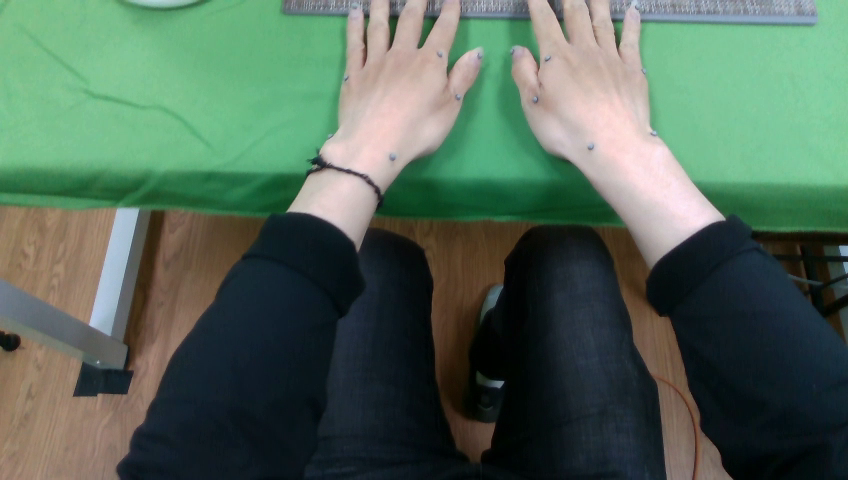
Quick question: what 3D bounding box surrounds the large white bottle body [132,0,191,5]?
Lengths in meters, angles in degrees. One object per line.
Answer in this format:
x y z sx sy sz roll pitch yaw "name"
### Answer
-0.225 -0.291 0.456 0.130 0.186 0.129 0 67 0 "large white bottle body"
